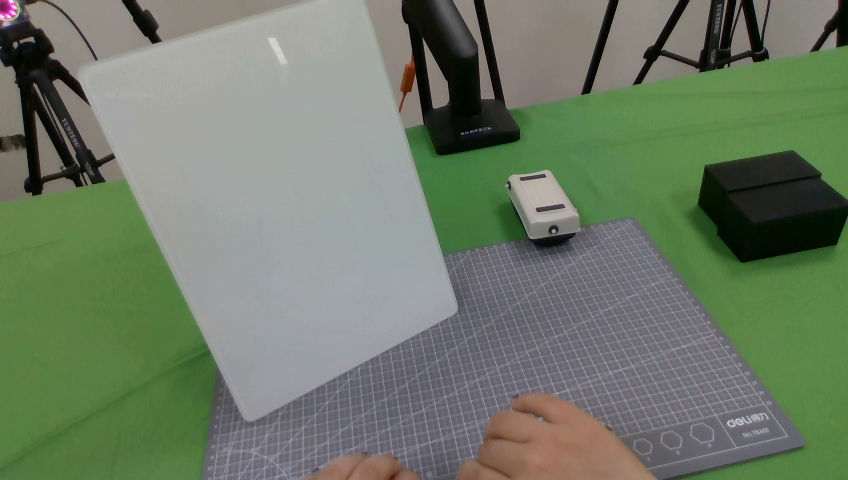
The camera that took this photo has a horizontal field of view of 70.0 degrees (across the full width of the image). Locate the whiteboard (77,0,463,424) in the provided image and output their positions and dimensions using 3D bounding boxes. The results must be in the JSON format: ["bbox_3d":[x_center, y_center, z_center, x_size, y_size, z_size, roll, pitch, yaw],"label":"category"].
[{"bbox_3d":[-0.126,-0.038,0.550,0.217,0.307,0.142,-25,22,-19],"label":"whiteboard"}]

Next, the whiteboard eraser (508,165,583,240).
[{"bbox_3d":[0.132,-0.042,0.673,0.055,0.042,0.111,-11,35,-1],"label":"whiteboard eraser"}]

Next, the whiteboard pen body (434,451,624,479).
[{"bbox_3d":[0.055,0.150,0.380,0.141,0.017,0.017,-10,38,4],"label":"whiteboard pen body"}]

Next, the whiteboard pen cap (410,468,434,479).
[{"bbox_3d":[-0.007,0.161,0.380,0.018,0.018,0.033,27,70,36],"label":"whiteboard pen cap"}]
